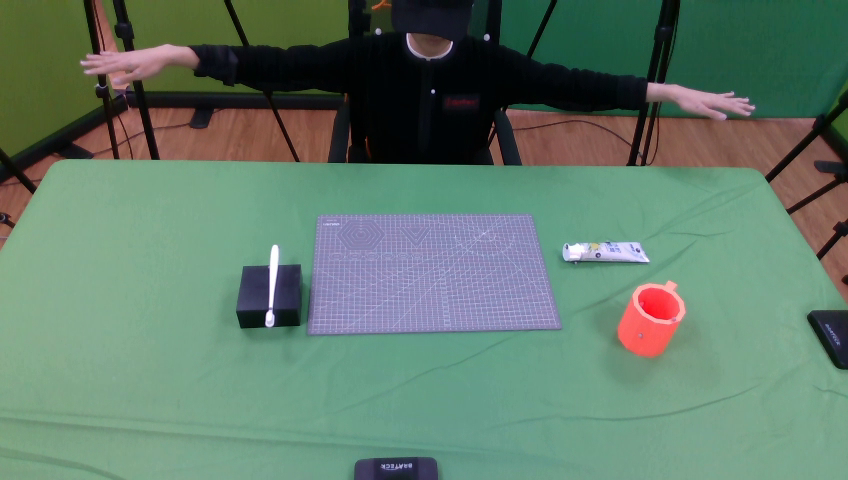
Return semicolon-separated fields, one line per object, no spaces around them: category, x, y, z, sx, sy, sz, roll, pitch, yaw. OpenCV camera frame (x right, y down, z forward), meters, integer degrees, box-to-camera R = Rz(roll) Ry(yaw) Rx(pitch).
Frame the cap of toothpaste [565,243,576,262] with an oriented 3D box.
cap of toothpaste;0.285;0.023;1.178;0.011;0.037;0.037;-3;46;-11

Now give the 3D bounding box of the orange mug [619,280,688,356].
orange mug;0.401;0.125;1.045;0.083;0.101;0.126;30;56;24

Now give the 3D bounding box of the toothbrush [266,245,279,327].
toothbrush;-0.261;0.073;1.042;0.014;0.017;0.180;-6;46;-3

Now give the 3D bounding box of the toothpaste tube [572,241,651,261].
toothpaste tube;0.363;0.024;1.191;0.165;0.035;0.054;-2;50;-11
